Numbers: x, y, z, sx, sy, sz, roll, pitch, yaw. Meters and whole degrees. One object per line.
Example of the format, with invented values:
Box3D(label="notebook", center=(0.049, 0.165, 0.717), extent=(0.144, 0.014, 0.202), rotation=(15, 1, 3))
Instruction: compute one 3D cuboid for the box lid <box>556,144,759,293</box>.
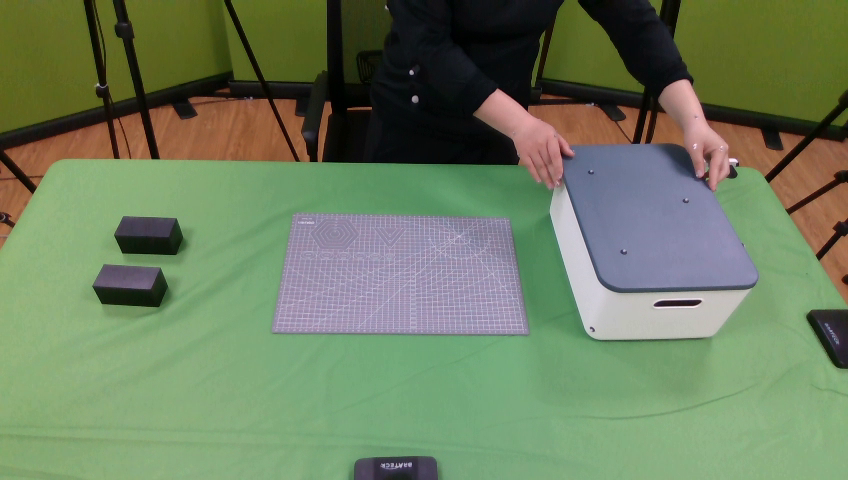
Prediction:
Box3D(label="box lid", center=(0.394, -0.052, 1.067), extent=(0.263, 0.015, 0.369), rotation=(-2, 46, -4))

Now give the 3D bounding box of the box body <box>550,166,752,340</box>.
Box3D(label="box body", center=(0.395, 0.002, 1.127), extent=(0.254, 0.161, 0.361), rotation=(-1, 46, -5))
